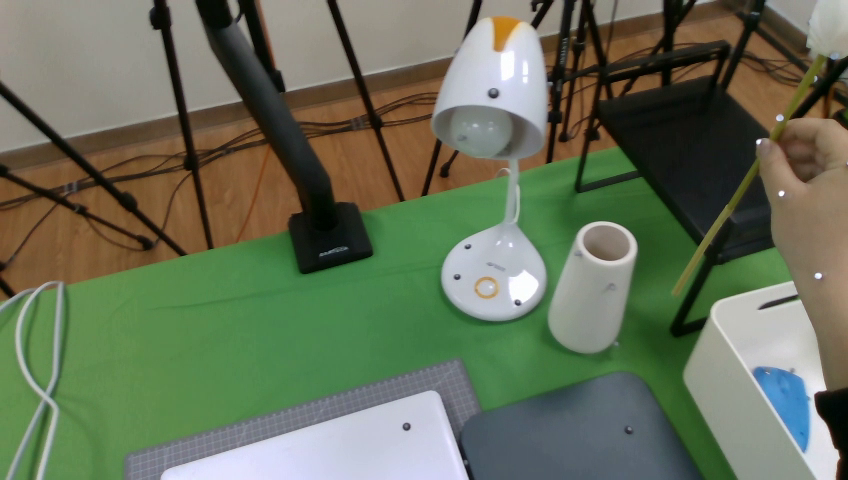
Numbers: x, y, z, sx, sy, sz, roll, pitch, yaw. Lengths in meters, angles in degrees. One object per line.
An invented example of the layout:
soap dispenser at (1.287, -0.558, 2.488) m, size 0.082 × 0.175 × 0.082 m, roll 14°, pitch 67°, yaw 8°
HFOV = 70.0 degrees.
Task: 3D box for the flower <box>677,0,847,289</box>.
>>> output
flower at (0.260, -0.052, 0.485) m, size 0.044 × 0.365 × 0.038 m, roll -25°, pitch 58°, yaw -13°

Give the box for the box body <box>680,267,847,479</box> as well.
box body at (0.491, 0.230, 0.673) m, size 0.254 × 0.162 × 0.360 m, roll -12°, pitch 51°, yaw -8°

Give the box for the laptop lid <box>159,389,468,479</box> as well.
laptop lid at (-0.118, 0.322, 0.693) m, size 0.357 × 0.013 × 0.239 m, roll -13°, pitch 54°, yaw -9°

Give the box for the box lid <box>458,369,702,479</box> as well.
box lid at (0.213, 0.333, 0.693) m, size 0.264 × 0.015 × 0.367 m, roll -14°, pitch 52°, yaw -11°

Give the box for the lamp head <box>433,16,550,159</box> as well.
lamp head at (0.074, -0.153, 0.599) m, size 0.112 × 0.113 × 0.122 m, roll 10°, pitch 69°, yaw 10°

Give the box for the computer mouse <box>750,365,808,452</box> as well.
computer mouse at (0.446, 0.208, 0.765) m, size 0.062 × 0.041 × 0.116 m, roll 14°, pitch 48°, yaw 17°

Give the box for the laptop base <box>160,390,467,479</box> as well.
laptop base at (-0.119, 0.326, 0.703) m, size 0.355 × 0.023 × 0.233 m, roll -14°, pitch 56°, yaw -10°

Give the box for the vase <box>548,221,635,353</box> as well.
vase at (0.218, 0.064, 0.792) m, size 0.098 × 0.202 × 0.097 m, roll -2°, pitch 50°, yaw 3°

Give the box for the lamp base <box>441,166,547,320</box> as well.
lamp base at (0.107, -0.006, 0.865) m, size 0.160 × 0.182 × 0.178 m, roll 12°, pitch 50°, yaw 12°
